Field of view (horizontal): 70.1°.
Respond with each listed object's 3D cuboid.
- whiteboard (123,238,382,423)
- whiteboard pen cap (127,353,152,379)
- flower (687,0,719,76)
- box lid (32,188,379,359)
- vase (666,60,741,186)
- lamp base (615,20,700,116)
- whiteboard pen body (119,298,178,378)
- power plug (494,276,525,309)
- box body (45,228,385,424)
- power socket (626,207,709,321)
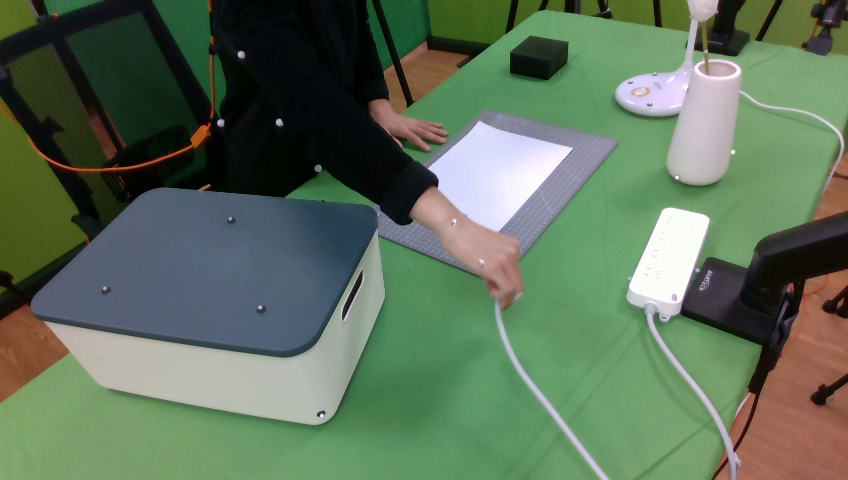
[{"bbox_3d":[-0.242,0.094,0.809,0.304,0.144,0.216,5,45,13],"label":"whiteboard"},{"bbox_3d":[-0.385,0.170,0.819,0.018,0.018,0.033,7,42,16],"label":"whiteboard pen cap"},{"bbox_3d":[0.436,-0.242,0.934,0.038,0.364,0.043,-24,49,8],"label":"flower"},{"bbox_3d":[-0.260,0.025,0.758,0.370,0.015,0.263,5,41,14],"label":"box lid"},{"bbox_3d":[0.463,-0.189,0.994,0.098,0.201,0.097,-4,40,3],"label":"vase"},{"bbox_3d":[0.484,-0.364,1.211,0.180,0.181,0.159,-15,41,-14],"label":"lamp base"},{"bbox_3d":[-0.396,0.139,0.869,0.017,0.017,0.140,6,46,15],"label":"whiteboard pen body"},{"bbox_3d":[0.100,0.072,0.775,0.073,0.053,0.035,-22,49,-37],"label":"power plug"},{"bbox_3d":[-0.254,0.081,0.807,0.363,0.161,0.253,5,42,14],"label":"box body"},{"bbox_3d":[0.360,0.026,0.886,0.072,0.033,0.227,17,46,26],"label":"power socket"}]
